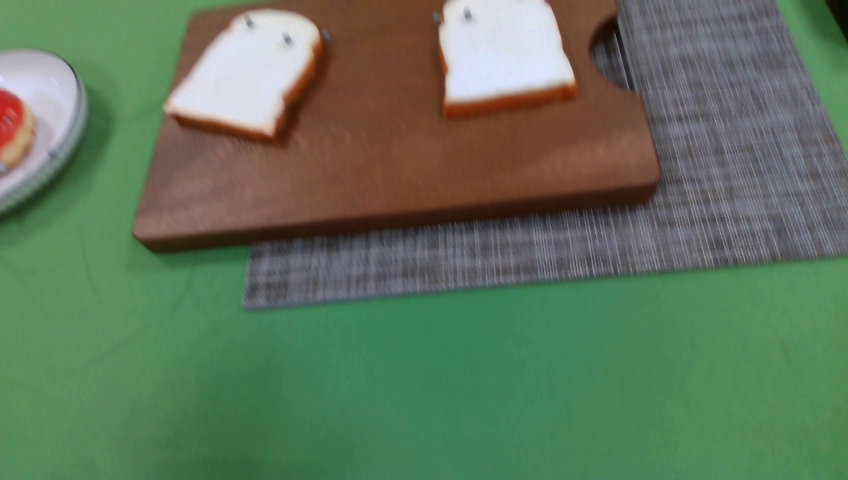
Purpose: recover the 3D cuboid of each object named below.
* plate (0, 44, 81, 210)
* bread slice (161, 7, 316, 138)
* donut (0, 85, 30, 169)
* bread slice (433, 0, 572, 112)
[{"bbox_3d":[-0.415,-0.096,0.565,0.209,0.038,0.207,-4,61,8],"label":"plate"},{"bbox_3d":[-0.154,-0.150,0.529,0.106,0.018,0.133,11,65,16],"label":"bread slice"},{"bbox_3d":[-0.412,-0.100,0.554,0.099,0.049,0.098,-5,62,10],"label":"donut"},{"bbox_3d":[0.056,-0.167,0.502,0.105,0.019,0.130,-9,61,3],"label":"bread slice"}]
